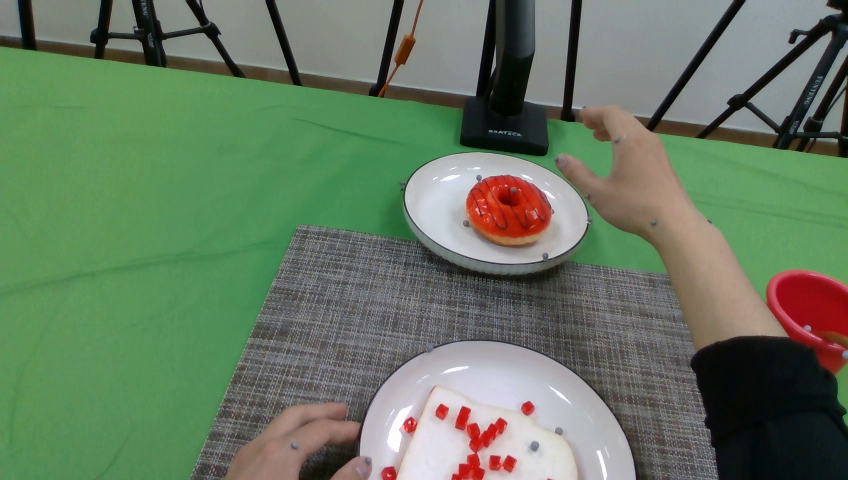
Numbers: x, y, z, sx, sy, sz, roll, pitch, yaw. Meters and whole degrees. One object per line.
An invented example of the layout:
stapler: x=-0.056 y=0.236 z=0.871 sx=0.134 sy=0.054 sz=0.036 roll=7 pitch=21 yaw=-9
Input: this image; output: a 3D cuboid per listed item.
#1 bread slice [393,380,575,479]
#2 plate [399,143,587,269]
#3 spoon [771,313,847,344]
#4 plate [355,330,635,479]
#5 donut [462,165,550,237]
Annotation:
bread slice: x=0.049 y=0.165 z=0.462 sx=0.131 sy=0.019 sz=0.104 roll=14 pitch=44 yaw=12
plate: x=0.074 y=-0.037 z=0.678 sx=0.208 sy=0.039 sz=0.205 roll=5 pitch=41 yaw=-4
spoon: x=0.342 y=0.078 z=0.519 sx=0.041 sy=0.021 sz=0.194 roll=23 pitch=1 yaw=15
plate: x=0.052 y=0.161 z=0.462 sx=0.209 sy=0.038 sz=0.207 roll=4 pitch=43 yaw=-3
donut: x=0.090 y=-0.043 z=0.670 sx=0.099 sy=0.048 sz=0.098 roll=5 pitch=44 yaw=-4
